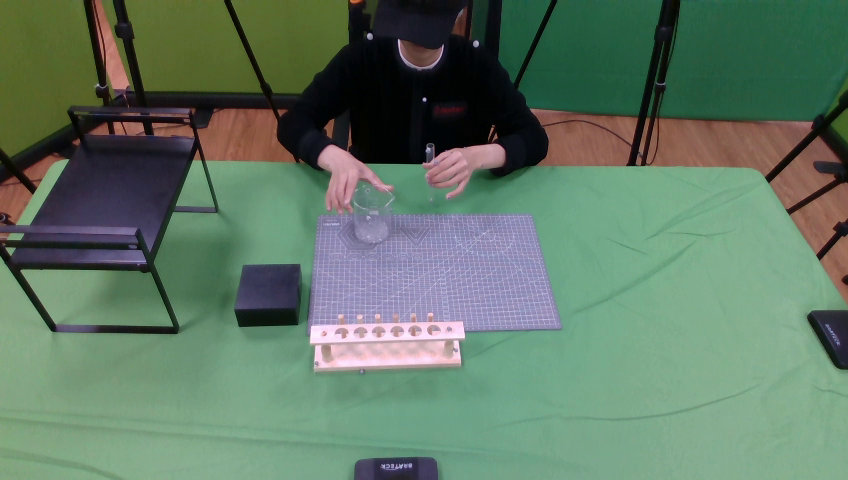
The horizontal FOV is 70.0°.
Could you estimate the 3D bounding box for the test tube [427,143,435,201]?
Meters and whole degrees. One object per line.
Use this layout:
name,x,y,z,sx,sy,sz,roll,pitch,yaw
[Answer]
test tube,0.015,-0.131,1.197,0.017,0.151,0.017,-1,50,1

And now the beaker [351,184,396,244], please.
beaker,-0.098,-0.048,1.177,0.084,0.101,0.073,-5,47,-10

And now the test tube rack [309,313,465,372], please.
test tube rack,-0.059,0.161,0.990,0.242,0.085,0.066,-1,46,-5
